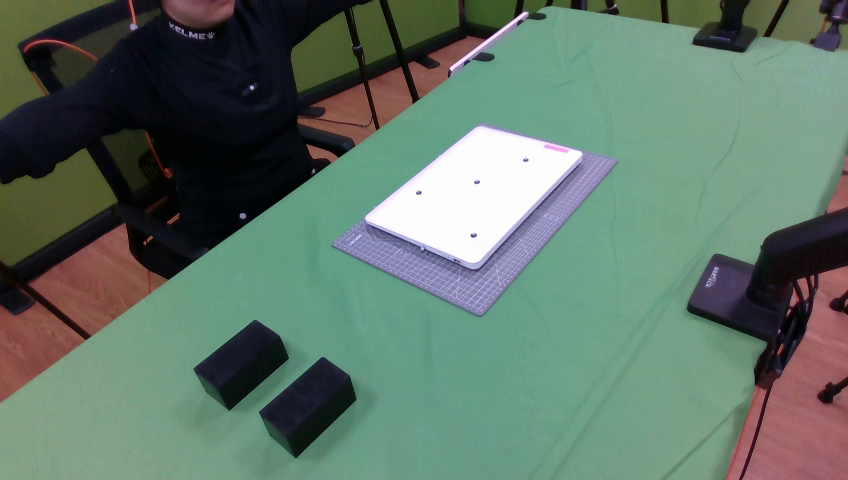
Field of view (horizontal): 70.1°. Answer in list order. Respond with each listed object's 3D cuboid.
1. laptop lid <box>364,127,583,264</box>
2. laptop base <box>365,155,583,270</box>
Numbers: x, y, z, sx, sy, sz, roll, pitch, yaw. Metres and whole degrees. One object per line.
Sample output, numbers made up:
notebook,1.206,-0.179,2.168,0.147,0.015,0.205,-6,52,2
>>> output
laptop lid,0.092,-0.096,1.053,0.239,0.013,0.358,23,48,34
laptop base,0.095,-0.086,1.059,0.233,0.023,0.355,20,47,33
